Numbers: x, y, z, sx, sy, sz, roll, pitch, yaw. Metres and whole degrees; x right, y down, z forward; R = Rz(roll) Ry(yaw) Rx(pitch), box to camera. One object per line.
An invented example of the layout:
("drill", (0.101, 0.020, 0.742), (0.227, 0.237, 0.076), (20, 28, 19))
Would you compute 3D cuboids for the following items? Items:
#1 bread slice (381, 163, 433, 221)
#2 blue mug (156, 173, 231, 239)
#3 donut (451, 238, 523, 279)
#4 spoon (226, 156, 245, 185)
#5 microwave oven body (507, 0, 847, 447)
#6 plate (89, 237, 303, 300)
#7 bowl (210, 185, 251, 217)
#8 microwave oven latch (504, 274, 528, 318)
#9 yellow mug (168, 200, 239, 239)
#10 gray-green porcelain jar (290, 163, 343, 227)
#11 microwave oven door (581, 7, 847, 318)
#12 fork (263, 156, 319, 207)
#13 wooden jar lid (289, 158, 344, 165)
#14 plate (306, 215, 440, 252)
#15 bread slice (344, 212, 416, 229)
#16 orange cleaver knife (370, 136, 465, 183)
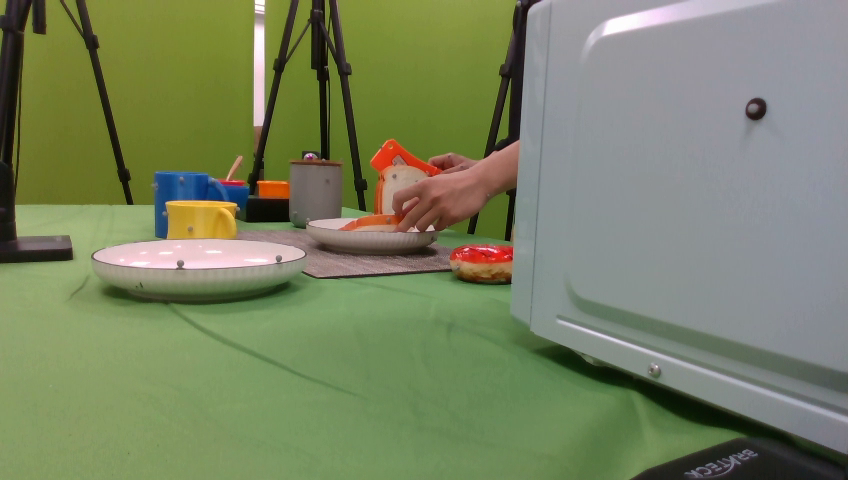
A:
("bread slice", (-0.035, -0.076, 1.123), (0.107, 0.134, 0.018), (-4, 1, -26))
("blue mug", (-0.381, -0.057, 1.004), (0.117, 0.106, 0.082), (0, 8, -12))
("donut", (0.082, 0.022, 0.745), (0.099, 0.048, 0.099), (1, 5, 0))
("spoon", (-0.477, -0.145, 1.492), (0.041, 0.022, 0.193), (0, 51, 12))
("microwave oven body", (0.331, -0.042, 0.425), (0.444, 0.260, 0.324), (-2, 8, -31))
("plate", (-0.233, 0.029, 0.637), (0.208, 0.039, 0.207), (2, 7, 0))
("bowl", (-0.408, -0.064, 1.155), (0.151, 0.077, 0.151), (2, 8, 0))
("microwave oven latch", (0.100, 0.041, 0.471), (0.079, 0.029, 0.030), (-1, 8, -28))
("yellow mug", (-0.319, -0.023, 0.904), (0.130, 0.064, 0.100), (9, 11, 36))
("gray-green porcelain jar", (-0.217, -0.091, 1.221), (0.106, 0.126, 0.106), (2, 7, 0))
("microwave oven door", (0.295, -0.067, 0.570), (0.358, 0.243, 0.039), (-3, 8, -31))
("fork", (-0.331, -0.144, 1.505), (0.207, 0.018, 0.028), (-42, -21, 22))
("wooden jar lid", (-0.215, -0.153, 1.212), (0.108, 0.020, 0.108), (2, 5, 0))
("plate", (-0.079, -0.011, 0.950), (0.209, 0.038, 0.209), (2, 8, 0))
("bread slice", (-0.069, -0.021, 0.941), (0.105, 0.019, 0.131), (-2, -11, -22))
("orange cleaver knife", (-0.010, -0.144, 1.236), (0.212, 0.077, 0.012), (21, 8, -29))
